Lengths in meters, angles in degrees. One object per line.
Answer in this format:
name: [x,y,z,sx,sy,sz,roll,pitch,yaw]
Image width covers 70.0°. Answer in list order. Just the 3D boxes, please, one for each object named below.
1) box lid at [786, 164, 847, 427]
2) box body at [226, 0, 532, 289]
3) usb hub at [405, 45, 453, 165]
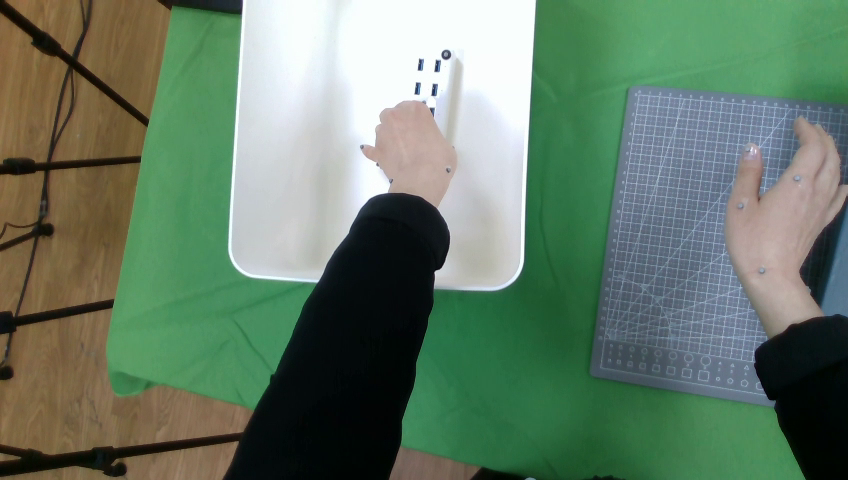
box lid: [0.493,0.013,0.523,0.262,0.015,0.372,10,103,10]
box body: [-0.026,-0.142,0.582,0.254,0.161,0.363,2,89,10]
usb hub: [0.006,-0.143,0.648,0.049,0.025,0.125,2,98,11]
